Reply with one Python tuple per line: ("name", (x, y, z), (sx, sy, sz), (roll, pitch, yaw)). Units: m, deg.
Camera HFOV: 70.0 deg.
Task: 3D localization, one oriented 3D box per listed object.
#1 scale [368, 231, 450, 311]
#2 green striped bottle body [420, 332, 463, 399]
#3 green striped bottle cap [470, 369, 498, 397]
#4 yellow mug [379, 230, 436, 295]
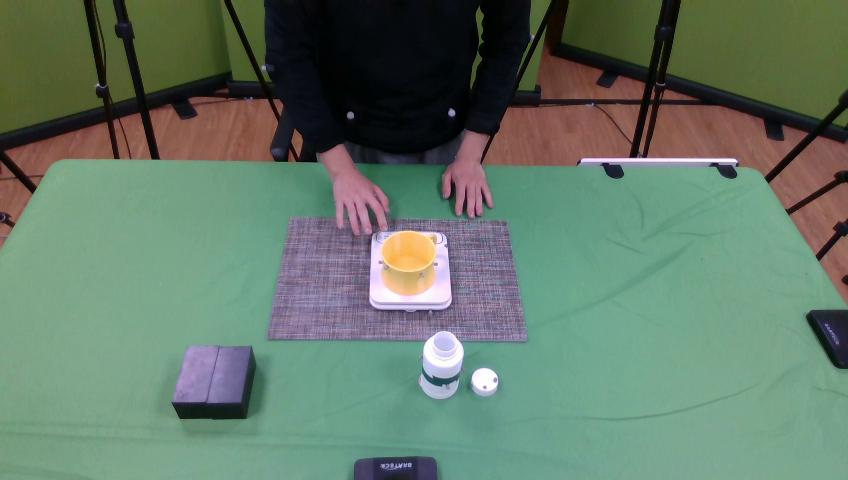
("scale", (-0.029, 0.048, 1.137), (0.149, 0.032, 0.199), (1, 46, -4))
("green striped bottle body", (0.027, 0.193, 0.947), (0.063, 0.120, 0.063), (2, 47, -2))
("green striped bottle cap", (0.098, 0.232, 0.988), (0.044, 0.020, 0.044), (2, 40, -1))
("yellow mug", (-0.020, 0.031, 1.089), (0.099, 0.064, 0.130), (31, 51, 24))
